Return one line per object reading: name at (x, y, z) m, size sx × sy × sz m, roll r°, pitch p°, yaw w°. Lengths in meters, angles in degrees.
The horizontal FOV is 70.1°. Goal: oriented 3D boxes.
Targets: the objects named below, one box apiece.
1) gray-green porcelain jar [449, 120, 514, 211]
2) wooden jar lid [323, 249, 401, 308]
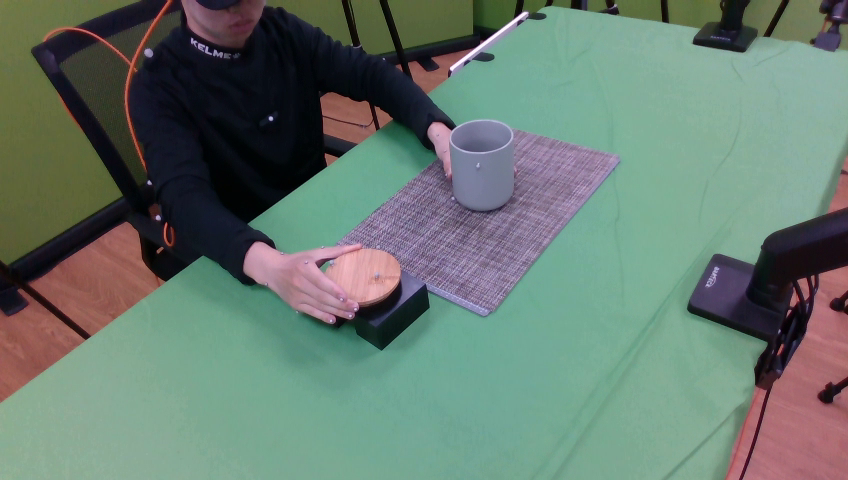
gray-green porcelain jar at (0.098, -0.120, 1.009) m, size 0.106 × 0.127 × 0.105 m, roll -4°, pitch 41°, yaw 4°
wooden jar lid at (-0.086, 0.055, 0.840) m, size 0.108 × 0.021 × 0.108 m, roll -3°, pitch 40°, yaw 3°
